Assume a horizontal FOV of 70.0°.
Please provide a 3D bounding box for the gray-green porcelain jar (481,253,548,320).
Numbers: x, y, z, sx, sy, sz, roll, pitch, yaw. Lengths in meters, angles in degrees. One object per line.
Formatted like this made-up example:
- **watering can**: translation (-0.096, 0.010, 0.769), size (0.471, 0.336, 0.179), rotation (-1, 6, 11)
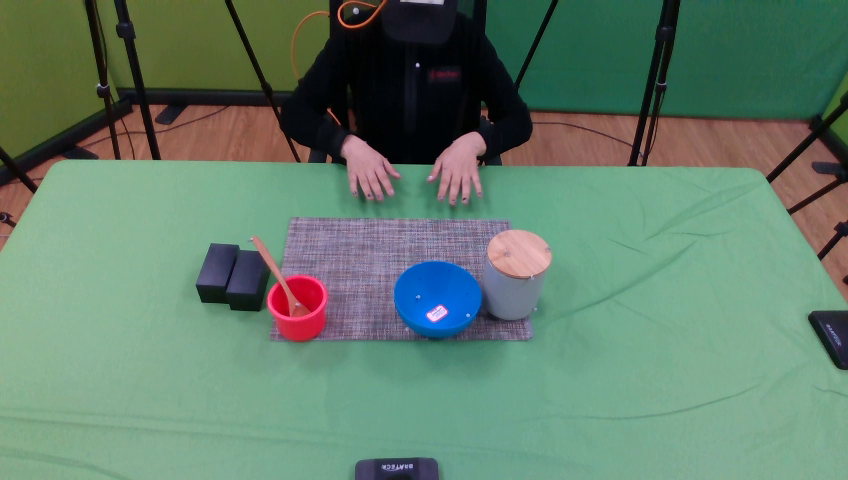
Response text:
- **gray-green porcelain jar**: translation (0.156, 0.070, 1.064), size (0.106, 0.127, 0.105), rotation (2, 46, -2)

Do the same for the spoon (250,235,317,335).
- **spoon**: translation (-0.237, 0.075, 1.019), size (0.041, 0.021, 0.194), rotation (-32, 100, -32)

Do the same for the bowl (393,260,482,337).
- **bowl**: translation (0.021, 0.115, 1.045), size (0.151, 0.077, 0.150), rotation (2, 46, -2)

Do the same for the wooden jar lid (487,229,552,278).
- **wooden jar lid**: translation (0.160, 0.026, 1.018), size (0.108, 0.021, 0.107), rotation (2, 47, -1)
